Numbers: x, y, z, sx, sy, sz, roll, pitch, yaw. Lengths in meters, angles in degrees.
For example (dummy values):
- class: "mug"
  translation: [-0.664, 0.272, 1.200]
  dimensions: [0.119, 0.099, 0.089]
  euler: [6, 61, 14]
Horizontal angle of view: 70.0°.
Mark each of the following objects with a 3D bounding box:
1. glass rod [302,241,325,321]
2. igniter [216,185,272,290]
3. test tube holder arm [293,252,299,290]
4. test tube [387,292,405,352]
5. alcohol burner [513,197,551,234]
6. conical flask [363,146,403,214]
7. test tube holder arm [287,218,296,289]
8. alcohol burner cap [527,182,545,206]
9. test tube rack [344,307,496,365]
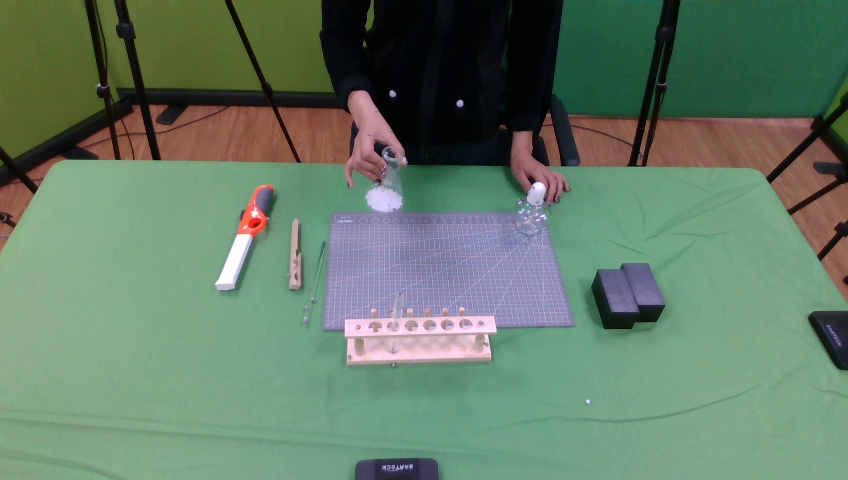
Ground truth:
- class: "glass rod"
  translation: [-0.204, 0.071, 1.124]
  dimensions: [0.008, 0.008, 0.198]
  euler: [4, 44, 1]
- class: "igniter"
  translation: [-0.347, -0.014, 1.182]
  dimensions: [0.057, 0.025, 0.275]
  euler: [-1, 45, 8]
- class: "test tube holder arm"
  translation: [-0.241, 0.056, 1.131]
  dimensions: [0.010, 0.015, 0.087]
  euler: [24, 35, -33]
- class: "test tube"
  translation: [-0.045, 0.133, 0.955]
  dimensions: [0.017, 0.151, 0.017]
  euler: [5, 47, -5]
- class: "alcohol burner"
  translation: [0.220, -0.069, 1.217]
  dimensions: [0.078, 0.119, 0.077]
  euler: [3, 47, -3]
- class: "conical flask"
  translation: [-0.066, -0.113, 1.100]
  dimensions: [0.075, 0.122, 0.075]
  euler: [8, 46, -8]
- class: "test tube holder arm"
  translation: [-0.253, 0.022, 1.158]
  dimensions: [0.013, 0.015, 0.177]
  euler: [23, 36, -34]
- class: "alcohol burner cap"
  translation: [0.222, -0.092, 1.190]
  dimensions: [0.034, 0.048, 0.033]
  euler: [2, 54, -3]
- class: "test tube rack"
  translation: [-0.009, 0.154, 1.007]
  dimensions: [0.242, 0.085, 0.066]
  euler: [-1, 46, -5]
